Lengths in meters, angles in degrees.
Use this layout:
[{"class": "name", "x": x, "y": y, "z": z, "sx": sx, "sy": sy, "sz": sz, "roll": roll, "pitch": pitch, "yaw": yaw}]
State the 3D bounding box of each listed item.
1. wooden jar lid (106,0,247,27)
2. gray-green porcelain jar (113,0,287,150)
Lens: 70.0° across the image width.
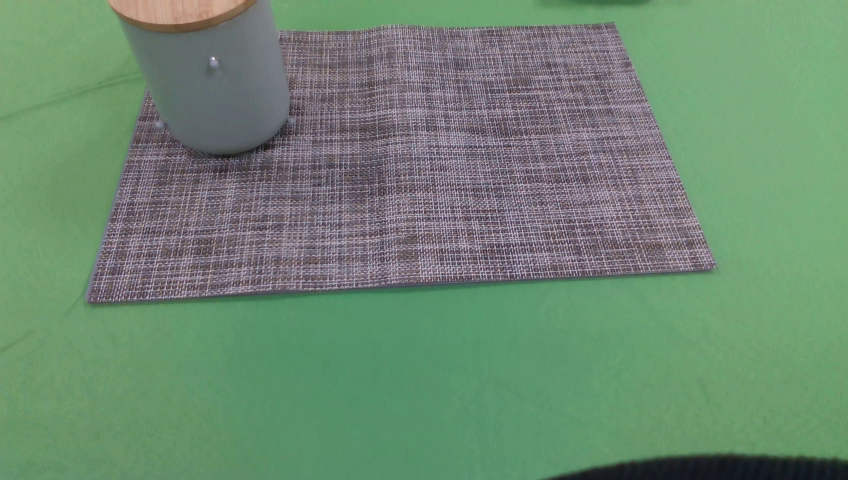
[{"class": "wooden jar lid", "x": -0.165, "y": -0.179, "z": 0.419, "sx": 0.108, "sy": 0.021, "sz": 0.107, "roll": 0, "pitch": 57, "yaw": 0}, {"class": "gray-green porcelain jar", "x": -0.166, "y": -0.142, "z": 0.469, "sx": 0.106, "sy": 0.127, "sz": 0.105, "roll": 1, "pitch": 55, "yaw": -1}]
